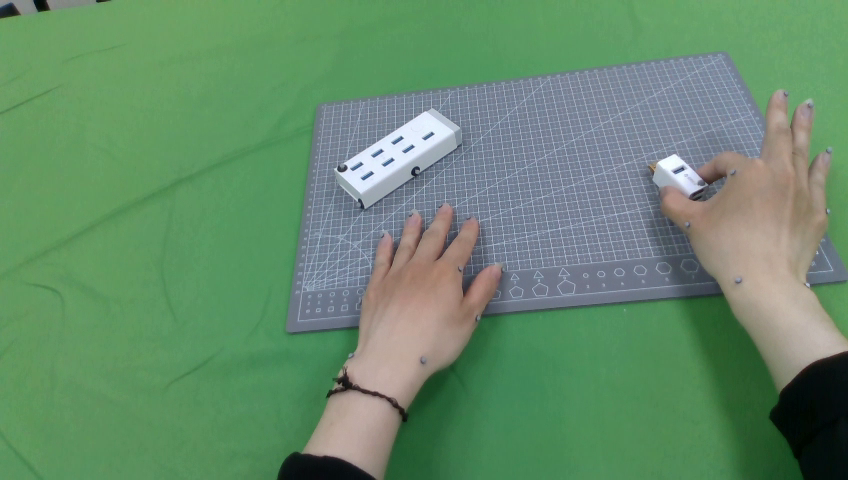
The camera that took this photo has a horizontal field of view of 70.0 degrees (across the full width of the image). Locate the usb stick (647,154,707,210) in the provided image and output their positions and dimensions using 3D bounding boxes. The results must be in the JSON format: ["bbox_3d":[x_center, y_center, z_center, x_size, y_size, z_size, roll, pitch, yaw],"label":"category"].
[{"bbox_3d":[0.220,-0.056,0.534,0.021,0.027,0.058,-25,49,-8],"label":"usb stick"}]

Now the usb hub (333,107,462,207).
[{"bbox_3d":[-0.025,-0.085,0.601,0.125,0.025,0.049,-35,54,-18],"label":"usb hub"}]
